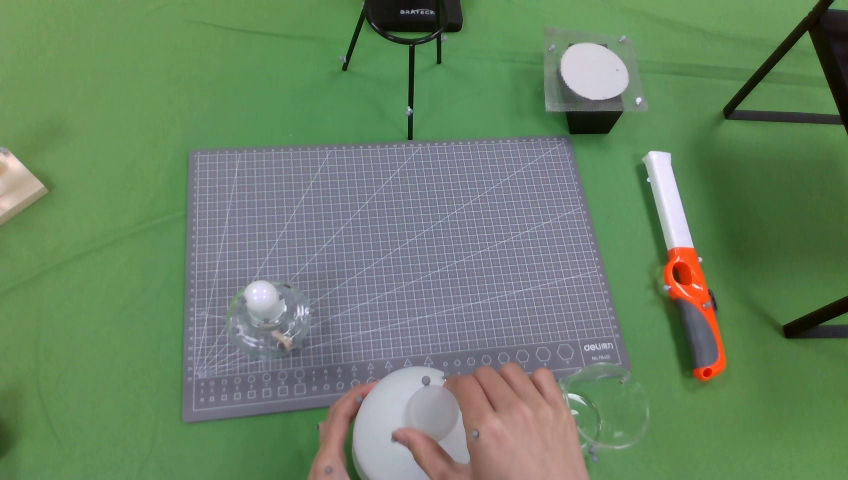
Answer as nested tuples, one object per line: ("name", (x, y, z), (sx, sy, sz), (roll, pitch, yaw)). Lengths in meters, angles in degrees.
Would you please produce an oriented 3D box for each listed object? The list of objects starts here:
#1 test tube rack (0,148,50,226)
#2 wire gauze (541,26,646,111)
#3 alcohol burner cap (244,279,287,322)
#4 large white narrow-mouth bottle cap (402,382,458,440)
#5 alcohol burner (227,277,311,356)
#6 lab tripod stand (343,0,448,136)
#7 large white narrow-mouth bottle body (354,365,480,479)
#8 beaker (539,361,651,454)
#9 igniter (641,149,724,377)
("test tube rack", (-0.495, -0.012, 0.565), (0.066, 0.085, 0.242), (41, 67, 11))
("wire gauze", (0.203, -0.207, 0.736), (0.122, 0.011, 0.124), (3, 65, -6))
("alcohol burner cap", (-0.140, 0.052, 0.527), (0.034, 0.048, 0.033), (1, 72, -4))
("large white narrow-mouth bottle cap", (0.004, 0.115, 0.410), (0.038, 0.024, 0.037), (3, 65, -6))
("alcohol burner", (-0.144, 0.065, 0.560), (0.078, 0.120, 0.077), (4, 64, -8))
("lab tripod stand", (-0.024, -0.215, 0.694), (0.149, 0.132, 0.147), (4, 66, -8))
("large white narrow-mouth bottle body", (-0.007, 0.157, 0.497), (0.102, 0.196, 0.101), (3, 65, -6))
("beaker", (0.152, 0.160, 0.570), (0.084, 0.101, 0.073), (27, 65, 6))
("igniter", (0.293, 0.018, 0.691), (0.057, 0.025, 0.274), (3, 66, -18))
